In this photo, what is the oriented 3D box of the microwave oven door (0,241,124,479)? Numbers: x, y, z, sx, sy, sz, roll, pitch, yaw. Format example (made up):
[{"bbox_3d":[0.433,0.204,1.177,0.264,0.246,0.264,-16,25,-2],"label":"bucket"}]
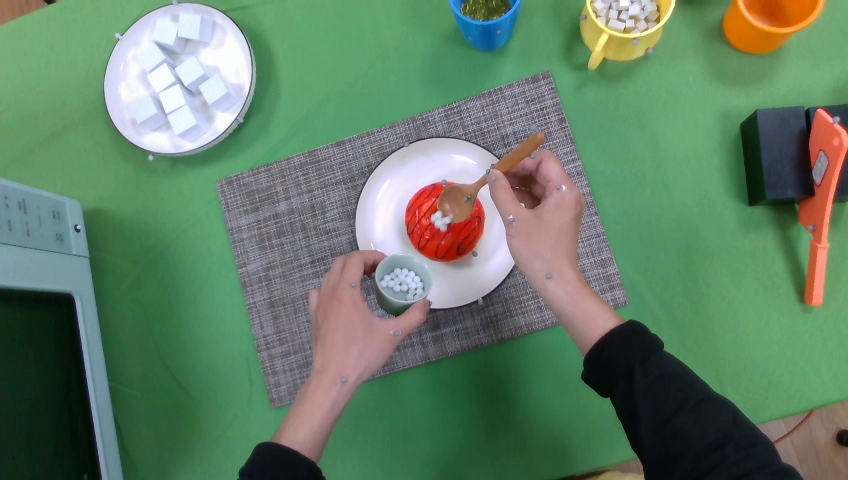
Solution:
[{"bbox_3d":[-0.426,0.176,0.646,0.039,0.245,0.354,-15,81,6],"label":"microwave oven door"}]

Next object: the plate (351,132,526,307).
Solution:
[{"bbox_3d":[0.018,-0.024,0.726,0.209,0.038,0.208,-1,83,8],"label":"plate"}]

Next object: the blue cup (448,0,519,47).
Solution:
[{"bbox_3d":[0.072,-0.278,0.720,0.092,0.100,0.092,-1,85,7],"label":"blue cup"}]

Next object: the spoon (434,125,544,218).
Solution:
[{"bbox_3d":[0.059,-0.063,0.594,0.021,0.193,0.041,-30,88,-27],"label":"spoon"}]

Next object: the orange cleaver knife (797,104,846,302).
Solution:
[{"bbox_3d":[0.421,-0.037,0.654,0.012,0.077,0.212,-2,112,10],"label":"orange cleaver knife"}]

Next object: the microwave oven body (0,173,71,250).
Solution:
[{"bbox_3d":[-0.576,0.171,0.672,0.326,0.261,0.440,-14,82,5],"label":"microwave oven body"}]

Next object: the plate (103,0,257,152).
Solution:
[{"bbox_3d":[-0.316,-0.214,0.797,0.207,0.039,0.207,-1,83,8],"label":"plate"}]

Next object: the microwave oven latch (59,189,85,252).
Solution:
[{"bbox_3d":[-0.459,-0.023,0.776,0.030,0.029,0.079,-13,83,6],"label":"microwave oven latch"}]

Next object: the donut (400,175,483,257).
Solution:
[{"bbox_3d":[0.021,-0.028,0.715,0.099,0.048,0.099,-1,85,9],"label":"donut"}]

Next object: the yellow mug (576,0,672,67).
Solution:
[{"bbox_3d":[0.226,-0.263,0.715,0.099,0.064,0.131,31,89,10],"label":"yellow mug"}]

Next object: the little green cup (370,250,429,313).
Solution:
[{"bbox_3d":[-0.027,0.046,0.638,0.062,0.039,0.061,6,53,-8],"label":"little green cup"}]
